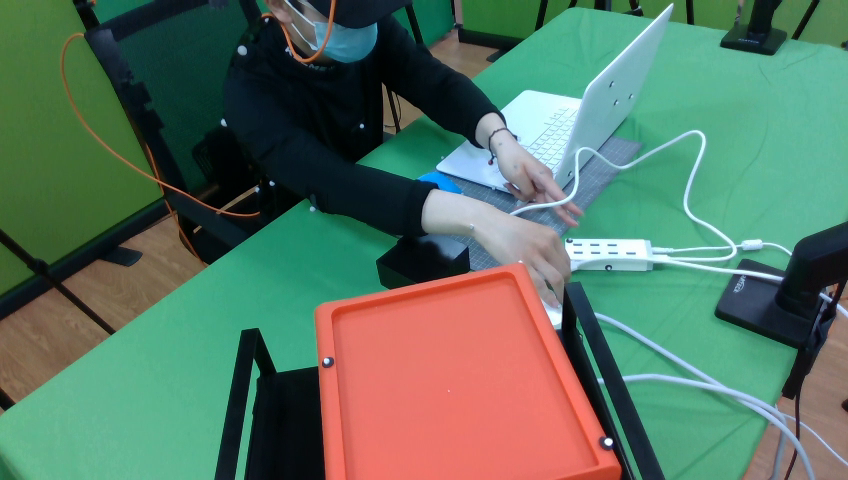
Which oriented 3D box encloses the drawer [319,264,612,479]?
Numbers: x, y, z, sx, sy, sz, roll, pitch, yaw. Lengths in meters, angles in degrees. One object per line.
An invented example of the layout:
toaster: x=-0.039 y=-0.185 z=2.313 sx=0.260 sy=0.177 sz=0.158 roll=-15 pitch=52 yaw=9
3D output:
drawer: x=0.020 y=0.129 z=0.497 sx=0.195 sy=0.073 sz=0.210 roll=-11 pitch=41 yaw=-5

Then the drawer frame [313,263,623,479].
drawer frame: x=0.021 y=0.130 z=0.493 sx=0.202 sy=0.083 sz=0.212 roll=-11 pitch=41 yaw=-6

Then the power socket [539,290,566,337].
power socket: x=0.081 y=0.112 z=0.822 sx=0.227 sy=0.033 sz=0.072 roll=-6 pitch=41 yaw=0

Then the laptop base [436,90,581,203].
laptop base: x=0.214 y=-0.192 z=1.172 sx=0.233 sy=0.023 sz=0.355 roll=19 pitch=46 yaw=32

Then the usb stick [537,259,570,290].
usb stick: x=0.183 y=0.054 z=0.874 sx=0.059 sy=0.027 sz=0.021 roll=-40 pitch=70 yaw=4

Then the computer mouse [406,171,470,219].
computer mouse: x=0.024 y=-0.082 z=1.049 sx=0.063 sy=0.041 sz=0.116 roll=-30 pitch=49 yaw=-27

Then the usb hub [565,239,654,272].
usb hub: x=0.275 y=0.022 z=0.906 sx=0.125 sy=0.025 sz=0.049 roll=1 pitch=41 yaw=9

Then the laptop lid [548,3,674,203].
laptop lid: x=0.320 y=-0.235 z=1.026 sx=0.013 sy=0.242 sz=0.357 roll=31 pitch=50 yaw=20

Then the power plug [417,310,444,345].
power plug: x=0.007 y=0.122 z=0.785 sx=0.035 sy=0.053 sz=0.072 roll=0 pitch=39 yaw=7
